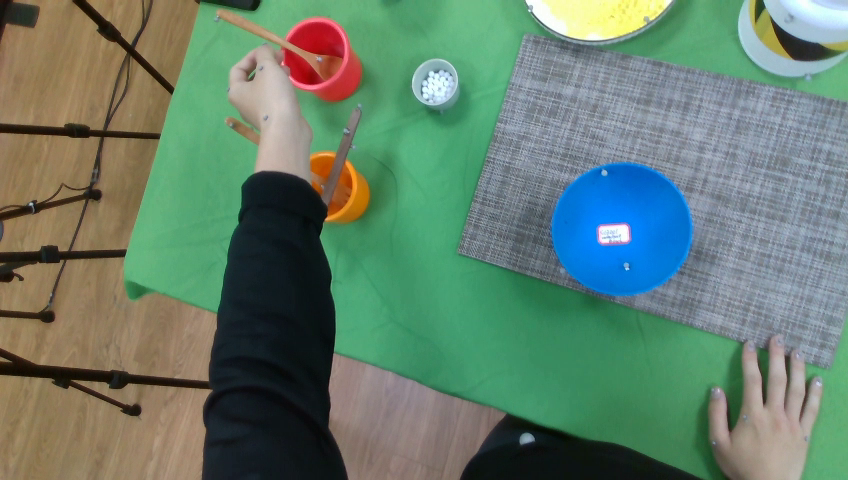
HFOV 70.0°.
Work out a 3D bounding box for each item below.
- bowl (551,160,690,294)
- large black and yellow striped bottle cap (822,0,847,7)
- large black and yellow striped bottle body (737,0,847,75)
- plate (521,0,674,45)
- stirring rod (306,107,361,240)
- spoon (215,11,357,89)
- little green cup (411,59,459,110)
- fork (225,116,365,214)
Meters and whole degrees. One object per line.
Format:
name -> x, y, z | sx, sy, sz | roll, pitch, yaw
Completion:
bowl -> 0.227, -0.011, 0.711 | 0.151, 0.077, 0.151 | -1, 85, 14
large black and yellow striped bottle cap -> 0.400, -0.272, 0.553 | 0.114, 0.019, 0.114 | -1, 85, 15
large black and yellow striped bottle body -> 0.420, -0.266, 0.635 | 0.130, 0.185, 0.130 | -1, 85, 14
plate -> 0.220, -0.344, 0.765 | 0.208, 0.038, 0.208 | -1, 86, 13
stirring rod -> -0.114, -0.084, 0.763 | 0.014, 0.006, 0.176 | 20, 91, 13
spoon -> -0.178, -0.253, 0.799 | 0.195, 0.021, 0.041 | 22, 94, -29
little green cup -> 0.017, -0.203, 0.801 | 0.061, 0.039, 0.061 | -1, 85, 15
fork -> -0.162, -0.095, 0.778 | 0.209, 0.018, 0.028 | 34, 98, -30
